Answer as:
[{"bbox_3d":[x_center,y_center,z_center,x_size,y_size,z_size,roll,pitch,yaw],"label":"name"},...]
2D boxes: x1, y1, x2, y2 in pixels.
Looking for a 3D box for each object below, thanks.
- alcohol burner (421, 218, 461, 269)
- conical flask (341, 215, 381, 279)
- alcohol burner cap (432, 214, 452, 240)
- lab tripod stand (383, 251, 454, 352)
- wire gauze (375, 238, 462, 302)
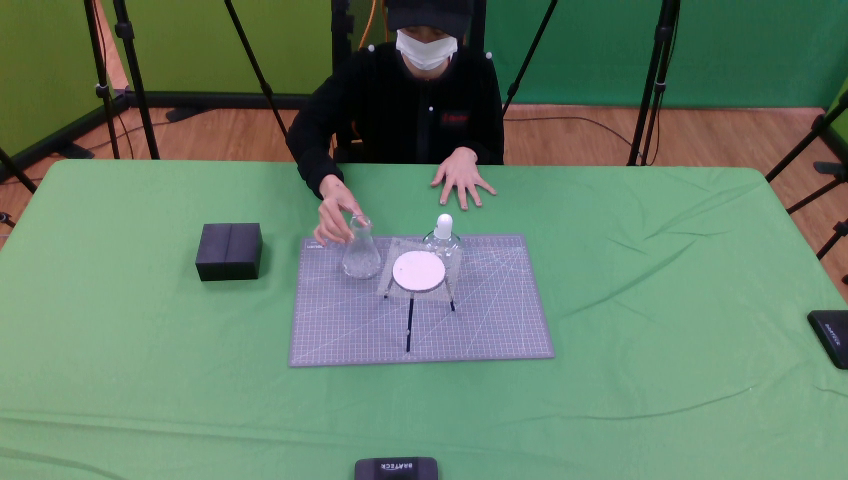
[{"bbox_3d":[0.033,-0.001,1.135,0.078,0.119,0.077,3,48,-3],"label":"alcohol burner"},{"bbox_3d":[-0.116,0.009,1.106,0.075,0.122,0.075,2,47,-2],"label":"conical flask"},{"bbox_3d":[0.035,-0.027,1.110,0.034,0.048,0.033,7,42,-6],"label":"alcohol burner cap"},{"bbox_3d":[-0.015,0.094,1.025,0.148,0.132,0.147,1,46,-1],"label":"lab tripod stand"},{"bbox_3d":[-0.006,0.048,0.977,0.121,0.011,0.124,9,45,5],"label":"wire gauze"}]
